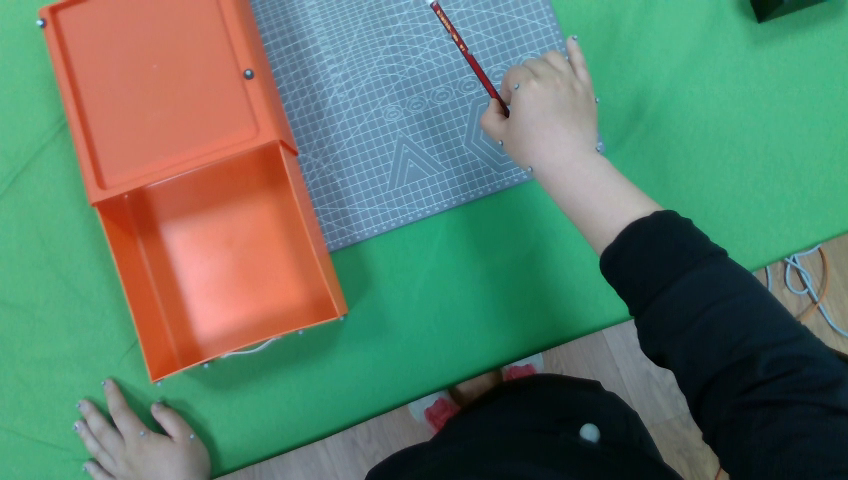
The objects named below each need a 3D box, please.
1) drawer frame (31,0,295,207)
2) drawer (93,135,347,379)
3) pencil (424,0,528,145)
[{"bbox_3d":[-0.266,-0.160,0.627,0.201,0.083,0.213,-20,85,2],"label":"drawer frame"},{"bbox_3d":[-0.206,0.010,0.619,0.194,0.073,0.211,-20,88,2],"label":"drawer"},{"bbox_3d":[0.043,-0.170,0.569,0.012,0.012,0.194,-34,91,0],"label":"pencil"}]
